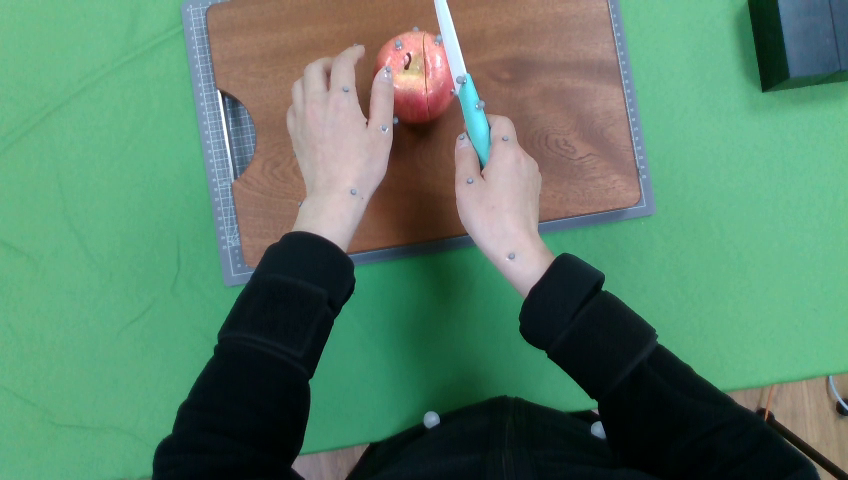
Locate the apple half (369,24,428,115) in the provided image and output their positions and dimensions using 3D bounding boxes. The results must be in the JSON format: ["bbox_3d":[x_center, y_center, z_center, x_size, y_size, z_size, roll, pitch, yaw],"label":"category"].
[{"bbox_3d":[-0.024,-0.156,0.567,0.053,0.074,0.081,-4,92,4],"label":"apple half"}]

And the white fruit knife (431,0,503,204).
[{"bbox_3d":[0.030,-0.132,0.500,0.016,0.027,0.207,-17,91,-30],"label":"white fruit knife"}]

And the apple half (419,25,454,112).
[{"bbox_3d":[0.014,-0.159,0.566,0.033,0.081,0.081,-4,88,3],"label":"apple half"}]
